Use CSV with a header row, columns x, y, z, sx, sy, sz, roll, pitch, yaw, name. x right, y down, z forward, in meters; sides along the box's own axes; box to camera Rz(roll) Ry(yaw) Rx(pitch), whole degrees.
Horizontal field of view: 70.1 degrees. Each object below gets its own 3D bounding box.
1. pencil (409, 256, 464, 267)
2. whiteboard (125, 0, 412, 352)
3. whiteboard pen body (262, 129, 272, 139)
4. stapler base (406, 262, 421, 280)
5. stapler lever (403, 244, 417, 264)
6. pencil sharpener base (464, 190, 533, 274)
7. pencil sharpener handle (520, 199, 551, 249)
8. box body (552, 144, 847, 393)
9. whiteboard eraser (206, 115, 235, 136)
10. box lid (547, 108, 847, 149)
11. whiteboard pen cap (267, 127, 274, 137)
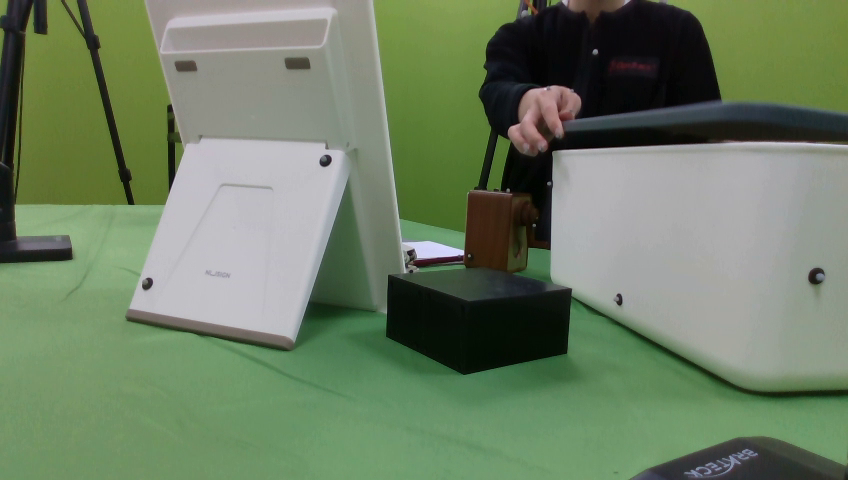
x,y,z,sx,sy,sz,roll,pitch,yaw,name
0.041,0.027,0.850,0.195,0.012,0.012,-5,10,-45,pencil
-0.151,-0.050,0.471,0.216,0.305,0.144,6,27,24,whiteboard
-0.361,-0.245,1.393,0.017,0.017,0.140,0,5,-20,whiteboard pen body
-0.069,0.027,0.759,0.130,0.024,0.041,10,13,23,stapler base
-0.066,0.003,0.755,0.117,0.040,0.027,9,13,23,stapler lever
0.103,-0.012,0.813,0.076,0.107,0.061,8,9,36,pencil sharpener base
0.148,-0.020,0.786,0.030,0.068,0.036,8,30,36,pencil sharpener handle
0.290,0.002,0.549,0.255,0.160,0.363,2,7,-10,box body
-0.444,-0.250,1.322,0.056,0.042,0.112,-2,8,-15,whiteboard eraser
0.291,-0.089,0.551,0.264,0.015,0.370,4,8,-10,box lid
-0.340,-0.239,1.337,0.018,0.018,0.033,1,-1,-14,whiteboard pen cap
